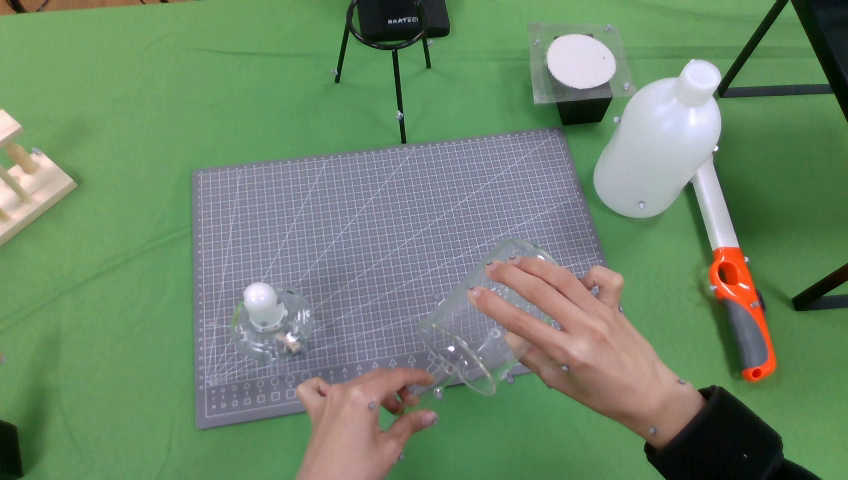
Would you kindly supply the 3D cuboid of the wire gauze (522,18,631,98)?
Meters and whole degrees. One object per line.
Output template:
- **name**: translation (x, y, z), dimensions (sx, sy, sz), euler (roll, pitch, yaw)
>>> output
- **wire gauze**: translation (0.184, -0.226, 0.743), dimensions (0.121, 0.011, 0.124), euler (-1, 64, -3)

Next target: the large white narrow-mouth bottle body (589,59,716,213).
- **large white narrow-mouth bottle body**: translation (0.248, -0.115, 0.645), dimensions (0.102, 0.196, 0.101), euler (1, 64, -2)

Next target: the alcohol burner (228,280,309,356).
- **alcohol burner**: translation (-0.151, 0.068, 0.578), dimensions (0.078, 0.120, 0.077), euler (2, 63, -4)

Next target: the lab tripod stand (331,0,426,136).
- **lab tripod stand**: translation (-0.044, -0.218, 0.712), dimensions (0.148, 0.132, 0.147), euler (2, 65, -4)

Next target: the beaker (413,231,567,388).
- **beaker**: translation (0.052, 0.050, 0.454), dimensions (0.073, 0.084, 0.100), euler (40, 69, 14)

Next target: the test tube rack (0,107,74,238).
- **test tube rack**: translation (-0.501, -0.023, 0.620), dimensions (0.066, 0.086, 0.242), euler (38, 68, 14)

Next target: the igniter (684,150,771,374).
- **igniter**: translation (0.334, 0.014, 0.681), dimensions (0.057, 0.025, 0.274), euler (2, 64, -13)

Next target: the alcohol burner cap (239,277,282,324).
- **alcohol burner cap**: translation (-0.149, 0.053, 0.545), dimensions (0.034, 0.048, 0.033), euler (0, 59, 0)

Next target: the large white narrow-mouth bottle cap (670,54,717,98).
- **large white narrow-mouth bottle cap**: translation (0.251, -0.154, 0.568), dimensions (0.038, 0.024, 0.037), euler (1, 64, -2)

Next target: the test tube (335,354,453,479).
- **test tube**: translation (-0.027, 0.148, 0.497), dimensions (0.017, 0.017, 0.150), euler (47, 110, 18)
